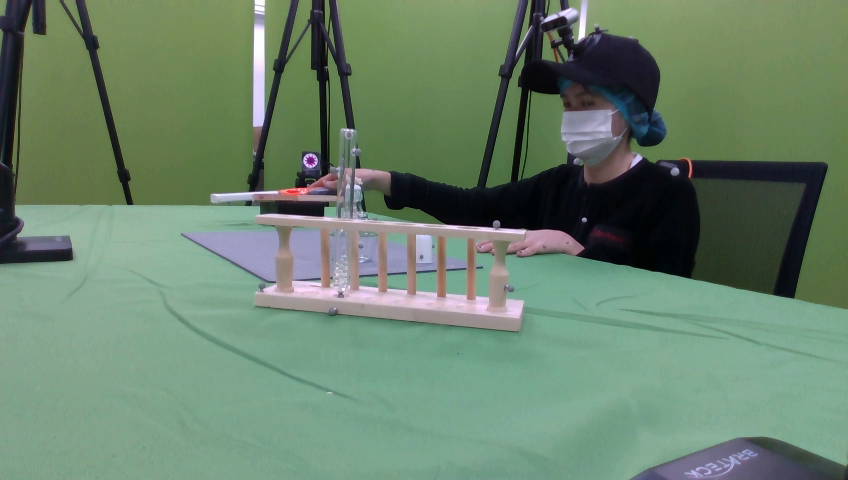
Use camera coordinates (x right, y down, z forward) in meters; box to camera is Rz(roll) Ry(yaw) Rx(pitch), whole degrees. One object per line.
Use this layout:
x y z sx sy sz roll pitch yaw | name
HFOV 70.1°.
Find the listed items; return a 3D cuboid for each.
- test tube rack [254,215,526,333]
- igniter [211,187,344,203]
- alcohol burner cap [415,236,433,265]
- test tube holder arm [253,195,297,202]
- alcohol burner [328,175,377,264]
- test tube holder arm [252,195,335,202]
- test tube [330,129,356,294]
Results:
-0.030 0.025 0.558 0.242 0.085 0.067 4 7 12 | test tube rack
-0.299 -0.094 1.266 0.278 0.025 0.057 -6 12 -33 | igniter
-0.004 0.011 0.835 0.034 0.048 0.034 2 7 0 | alcohol burner cap
-0.294 -0.082 1.194 0.088 0.015 0.010 -4 7 -38 | test tube holder arm
-0.098 -0.028 0.819 0.078 0.119 0.078 1 8 0 | alcohol burner
-0.262 -0.084 1.227 0.179 0.015 0.013 -4 7 -39 | test tube holder arm
-0.074 -0.025 0.548 0.017 0.150 0.017 4 6 0 | test tube
